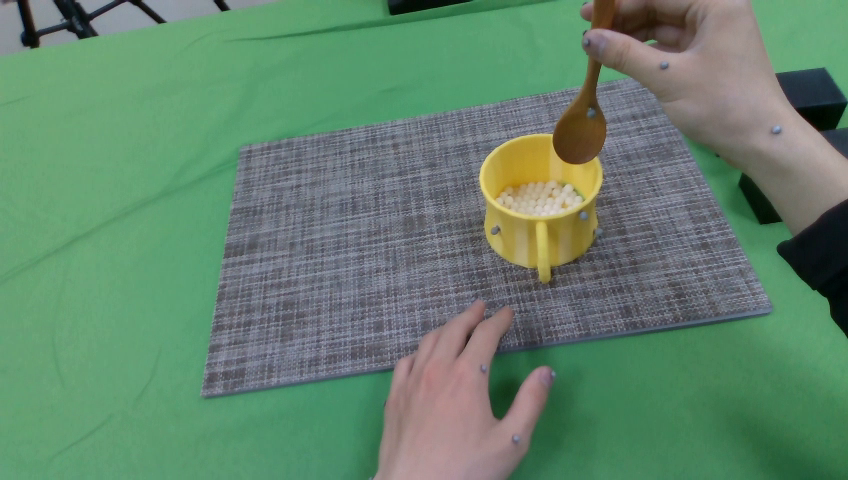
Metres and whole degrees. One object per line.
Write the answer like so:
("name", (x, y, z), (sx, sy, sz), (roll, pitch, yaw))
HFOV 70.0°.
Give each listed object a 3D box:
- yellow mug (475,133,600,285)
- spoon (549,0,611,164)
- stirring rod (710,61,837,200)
("yellow mug", (0.096, -0.022, 0.508), (0.100, 0.064, 0.129), (-3, 52, 9))
("spoon", (0.111, -0.117, 0.407), (0.041, 0.195, 0.021), (1, 61, 7))
("stirring rod", (0.288, -0.098, 0.508), (0.014, 0.006, 0.174), (-38, 45, 26))
